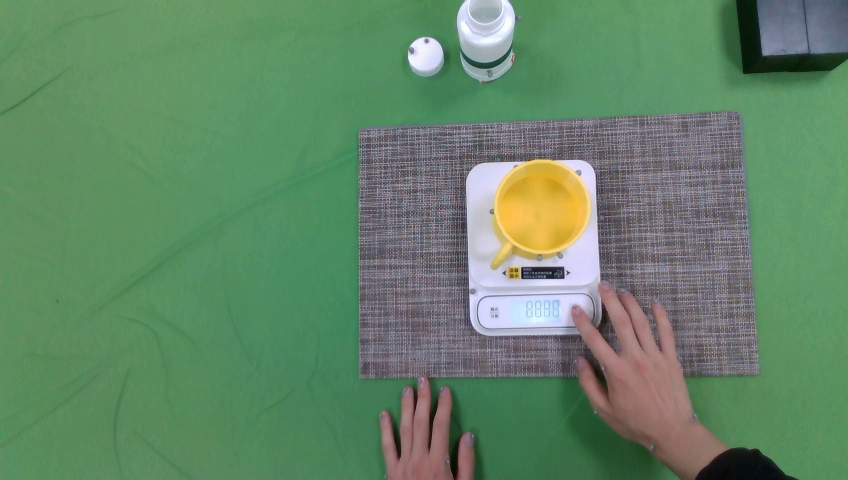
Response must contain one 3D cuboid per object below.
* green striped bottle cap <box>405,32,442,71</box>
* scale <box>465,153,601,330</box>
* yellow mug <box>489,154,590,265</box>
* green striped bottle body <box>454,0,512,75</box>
[{"bbox_3d":[-0.001,-0.231,0.743,0.044,0.020,0.044,0,89,4],"label":"green striped bottle cap"},{"bbox_3d":[0.124,0.001,0.693,0.148,0.031,0.200,-2,84,5],"label":"scale"},{"bbox_3d":[0.113,-0.025,0.650,0.099,0.064,0.131,39,89,8],"label":"yellow mug"},{"bbox_3d":[0.067,-0.238,0.684,0.063,0.119,0.063,-1,82,6],"label":"green striped bottle body"}]
